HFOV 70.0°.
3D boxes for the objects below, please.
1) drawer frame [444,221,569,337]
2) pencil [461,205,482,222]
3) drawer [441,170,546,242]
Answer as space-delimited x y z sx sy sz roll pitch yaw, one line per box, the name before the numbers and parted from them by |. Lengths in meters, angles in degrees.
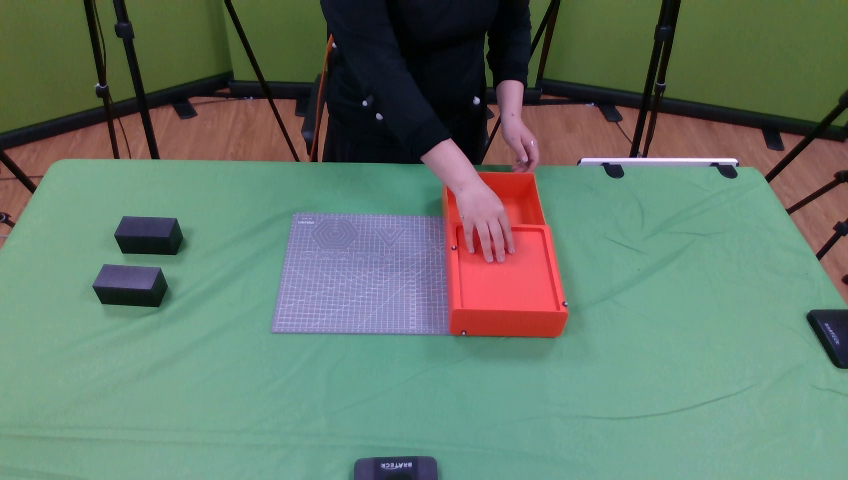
drawer frame | 0.141 0.067 1.097 0.202 0.083 0.212 2 46 -4
pencil | 0.132 -0.018 1.220 0.012 0.012 0.193 -24 51 -25
drawer | 0.137 -0.048 1.213 0.195 0.073 0.210 2 44 -4
